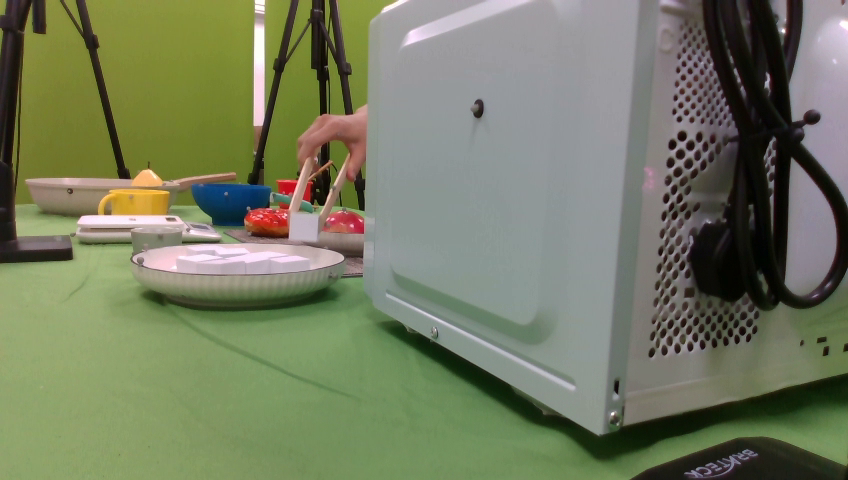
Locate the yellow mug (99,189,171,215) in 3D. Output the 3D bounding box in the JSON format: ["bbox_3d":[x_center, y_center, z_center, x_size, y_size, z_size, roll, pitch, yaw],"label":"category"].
[{"bbox_3d":[-0.519,-0.055,1.080,0.099,0.064,0.131,7,9,26],"label":"yellow mug"}]

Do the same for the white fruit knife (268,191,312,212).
[{"bbox_3d":[-0.364,-0.105,1.464,0.208,0.027,0.016,15,0,-34],"label":"white fruit knife"}]

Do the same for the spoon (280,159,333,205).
[{"bbox_3d":[-0.317,-0.159,1.640,0.194,0.022,0.041,-49,32,-20],"label":"spoon"}]

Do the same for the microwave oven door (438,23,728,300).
[{"bbox_3d":[0.181,-0.073,0.621,0.358,0.243,0.039,-2,8,-29],"label":"microwave oven door"}]

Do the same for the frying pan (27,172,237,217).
[{"bbox_3d":[-0.624,-0.118,1.387,0.305,0.102,0.490,8,17,32],"label":"frying pan"}]

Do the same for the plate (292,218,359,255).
[{"bbox_3d":[-0.098,-0.007,0.928,0.209,0.038,0.209,3,8,0],"label":"plate"}]

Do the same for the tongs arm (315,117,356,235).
[{"bbox_3d":[-0.131,-0.106,0.852,0.051,0.026,0.384,4,28,2],"label":"tongs arm"}]

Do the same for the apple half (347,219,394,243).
[{"bbox_3d":[-0.084,-0.018,0.968,0.081,0.033,0.081,7,10,-1],"label":"apple half"}]

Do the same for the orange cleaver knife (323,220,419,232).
[{"bbox_3d":[-0.097,-0.027,1.152,0.077,0.012,0.212,2,7,41],"label":"orange cleaver knife"}]

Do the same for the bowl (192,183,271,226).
[{"bbox_3d":[-0.382,-0.071,1.202,0.151,0.077,0.151,3,7,0],"label":"bowl"}]

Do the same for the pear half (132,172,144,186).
[{"bbox_3d":[-0.638,-0.113,1.361,0.031,0.088,0.070,5,11,4],"label":"pear half"}]

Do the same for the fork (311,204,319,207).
[{"bbox_3d":[-0.356,-0.105,1.526,0.208,0.018,0.028,16,-6,-41],"label":"fork"}]

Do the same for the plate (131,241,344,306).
[{"bbox_3d":[-0.187,0.033,0.625,0.208,0.039,0.207,2,8,0],"label":"plate"}]

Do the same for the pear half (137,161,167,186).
[{"bbox_3d":[-0.602,-0.120,1.354,0.056,0.110,0.076,4,11,6],"label":"pear half"}]

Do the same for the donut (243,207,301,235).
[{"bbox_3d":[-0.261,-0.032,1.043,0.099,0.048,0.099,4,9,0],"label":"donut"}]

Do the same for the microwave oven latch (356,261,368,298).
[{"bbox_3d":[-0.019,0.033,0.530,0.079,0.029,0.030,0,7,-26],"label":"microwave oven latch"}]

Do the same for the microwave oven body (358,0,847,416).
[{"bbox_3d":[0.211,-0.047,0.475,0.444,0.260,0.324,-1,7,-28],"label":"microwave oven body"}]

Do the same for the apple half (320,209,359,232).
[{"bbox_3d":[-0.122,-0.020,0.900,0.080,0.053,0.075,4,11,15],"label":"apple half"}]

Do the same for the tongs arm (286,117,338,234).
[{"bbox_3d":[-0.154,-0.107,0.851,0.028,0.028,0.387,-2,28,-1],"label":"tongs arm"}]

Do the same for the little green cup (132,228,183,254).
[{"bbox_3d":[-0.342,0.006,0.779,0.061,0.038,0.061,2,8,0],"label":"little green cup"}]

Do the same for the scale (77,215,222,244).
[{"bbox_3d":[-0.434,-0.019,0.963,0.202,0.031,0.148,-1,9,-27],"label":"scale"}]
